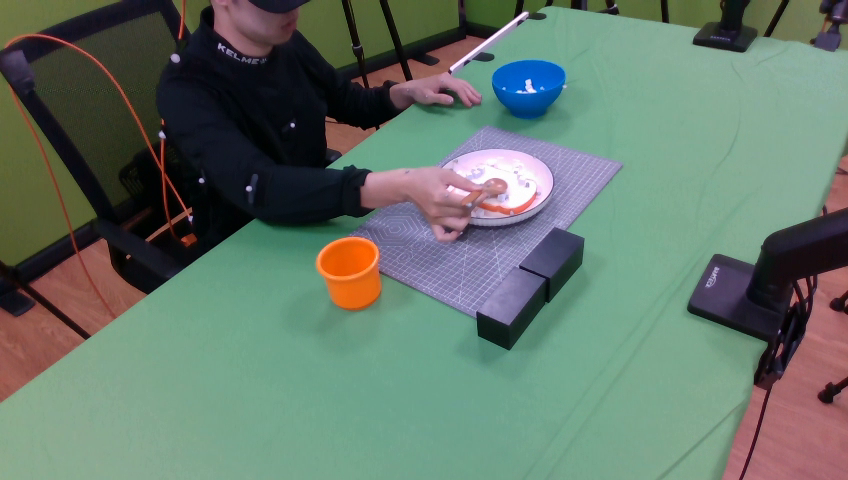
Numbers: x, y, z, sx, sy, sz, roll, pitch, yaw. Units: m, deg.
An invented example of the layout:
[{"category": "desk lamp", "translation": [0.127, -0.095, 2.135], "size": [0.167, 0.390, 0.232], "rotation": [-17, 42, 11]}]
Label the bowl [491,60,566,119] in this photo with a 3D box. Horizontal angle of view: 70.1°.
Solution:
[{"category": "bowl", "translation": [0.215, -0.302, 1.248], "size": [0.151, 0.077, 0.150], "rotation": [-4, 41, 4]}]

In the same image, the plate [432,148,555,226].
[{"category": "plate", "translation": [0.120, -0.087, 1.037], "size": [0.209, 0.038, 0.208], "rotation": [-4, 40, 4]}]

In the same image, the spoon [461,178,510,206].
[{"category": "spoon", "translation": [0.093, -0.077, 0.945], "size": [0.041, 0.021, 0.194], "rotation": [20, 18, 19]}]

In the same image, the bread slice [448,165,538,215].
[{"category": "bread slice", "translation": [0.126, -0.085, 1.037], "size": [0.133, 0.018, 0.107], "rotation": [16, 45, 27]}]
